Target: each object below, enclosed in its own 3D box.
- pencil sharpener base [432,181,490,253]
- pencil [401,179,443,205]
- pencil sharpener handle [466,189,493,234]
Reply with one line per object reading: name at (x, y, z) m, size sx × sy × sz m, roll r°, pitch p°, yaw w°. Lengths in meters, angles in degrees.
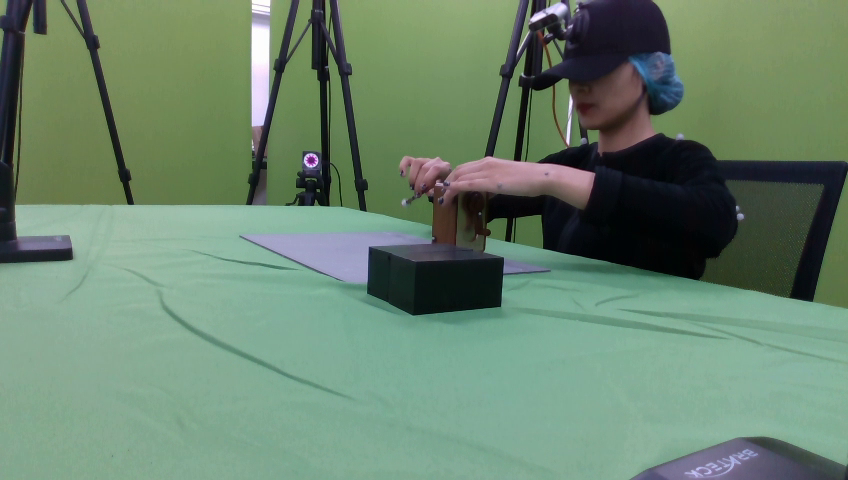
pencil sharpener base at (0.058, -0.036, 0.944) m, size 0.062 × 0.107 × 0.076 m, roll -1°, pitch 9°, yaw -31°
pencil at (-0.004, -0.085, 1.076) m, size 0.012 × 0.012 × 0.193 m, roll -1°, pitch -8°, yaw -22°
pencil sharpener handle at (0.087, -0.042, 0.900) m, size 0.036 × 0.068 × 0.030 m, roll -14°, pitch 15°, yaw -28°
